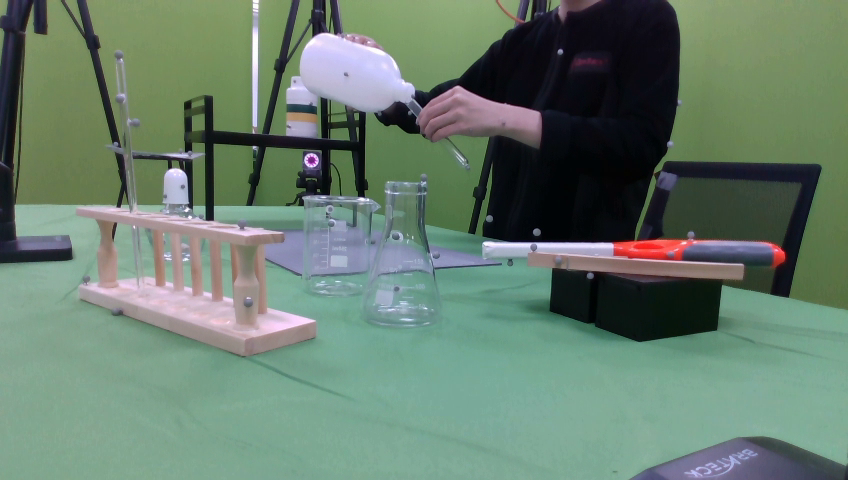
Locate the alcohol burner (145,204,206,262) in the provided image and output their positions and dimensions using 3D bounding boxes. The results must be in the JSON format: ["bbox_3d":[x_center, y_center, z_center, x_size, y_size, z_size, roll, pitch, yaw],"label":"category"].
[{"bbox_3d":[-0.322,-0.032,0.788,0.078,0.119,0.078,0,7,0],"label":"alcohol burner"}]

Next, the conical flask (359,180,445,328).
[{"bbox_3d":[-0.017,0.010,0.522,0.075,0.122,0.075,2,7,0],"label":"conical flask"}]

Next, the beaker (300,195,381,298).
[{"bbox_3d":[-0.087,0.006,0.626,0.084,0.100,0.074,1,8,-17],"label":"beaker"}]

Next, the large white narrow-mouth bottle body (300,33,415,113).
[{"bbox_3d":[-0.100,-0.263,0.982,0.194,0.101,0.102,26,17,24],"label":"large white narrow-mouth bottle body"}]

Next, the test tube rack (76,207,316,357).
[{"bbox_3d":[-0.196,0.023,0.500,0.241,0.085,0.067,8,9,36],"label":"test tube rack"}]

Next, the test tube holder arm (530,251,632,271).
[{"bbox_3d":[0.139,0.019,0.538,0.087,0.015,0.010,3,7,13],"label":"test tube holder arm"}]

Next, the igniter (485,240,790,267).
[{"bbox_3d":[0.197,0.012,0.585,0.276,0.025,0.057,1,5,12],"label":"igniter"}]

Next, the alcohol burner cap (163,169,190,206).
[{"bbox_3d":[-0.321,-0.068,0.782,0.034,0.048,0.034,1,7,0],"label":"alcohol burner cap"}]

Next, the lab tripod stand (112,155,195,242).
[{"bbox_3d":[-0.405,-0.064,0.931,0.148,0.131,0.148,1,6,0],"label":"lab tripod stand"}]

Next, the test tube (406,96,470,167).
[{"bbox_3d":[0.021,-0.166,0.920,0.150,0.017,0.017,51,29,19],"label":"test tube"}]

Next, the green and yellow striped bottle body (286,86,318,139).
[{"bbox_3d":[-0.251,-0.270,1.245,0.063,0.119,0.063,2,7,0],"label":"green and yellow striped bottle body"}]

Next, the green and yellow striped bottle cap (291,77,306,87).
[{"bbox_3d":[-0.250,-0.321,1.238,0.045,0.020,0.045,3,6,0],"label":"green and yellow striped bottle cap"}]

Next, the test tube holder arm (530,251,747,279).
[{"bbox_3d":[0.182,0.022,0.523,0.178,0.015,0.013,3,7,12],"label":"test tube holder arm"}]

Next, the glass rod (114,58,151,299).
[{"bbox_3d":[-0.236,-0.044,0.491,0.008,0.199,0.008,0,15,0],"label":"glass rod"}]

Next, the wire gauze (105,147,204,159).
[{"bbox_3d":[-0.407,-0.131,0.928,0.125,0.011,0.121,2,6,-11],"label":"wire gauze"}]

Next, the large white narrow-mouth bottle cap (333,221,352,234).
[{"bbox_3d":[-0.152,-0.024,1.134,0.038,0.024,0.037,4,7,0],"label":"large white narrow-mouth bottle cap"}]
